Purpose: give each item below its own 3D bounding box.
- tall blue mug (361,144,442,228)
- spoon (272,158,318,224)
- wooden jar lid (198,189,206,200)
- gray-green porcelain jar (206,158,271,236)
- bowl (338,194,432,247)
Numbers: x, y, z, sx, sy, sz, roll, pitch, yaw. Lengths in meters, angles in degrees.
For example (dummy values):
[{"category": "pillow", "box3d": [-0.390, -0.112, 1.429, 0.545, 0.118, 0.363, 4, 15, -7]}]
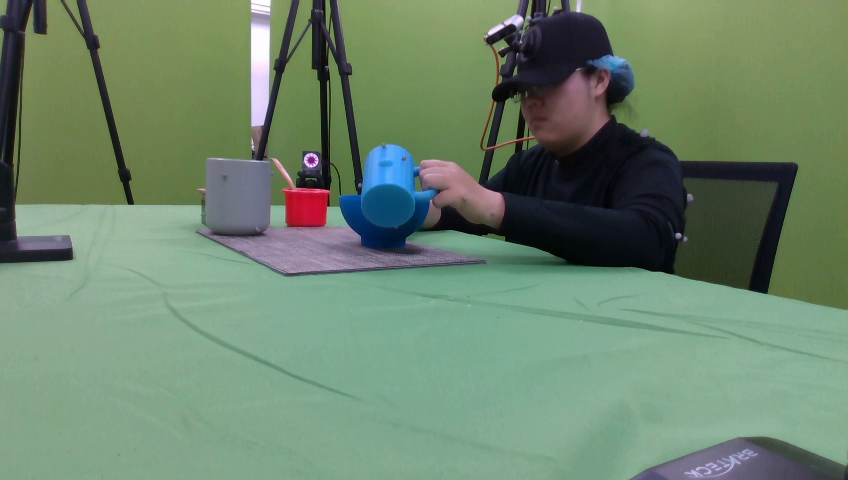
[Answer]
[{"category": "tall blue mug", "box3d": [-0.036, -0.075, 0.876, 0.107, 0.077, 0.107, 18, 35, -16]}, {"category": "spoon", "box3d": [-0.268, -0.103, 1.236, 0.042, 0.193, 0.021, -10, -32, -39]}, {"category": "wooden jar lid", "box3d": [-0.382, -0.088, 1.175, 0.108, 0.020, 0.108, 3, 8, 0]}, {"category": "gray-green porcelain jar", "box3d": [-0.316, -0.074, 1.032, 0.106, 0.126, 0.106, 3, 7, 0]}, {"category": "bowl", "box3d": [-0.066, -0.031, 0.984, 0.151, 0.077, 0.151, 2, 7, 0]}]
